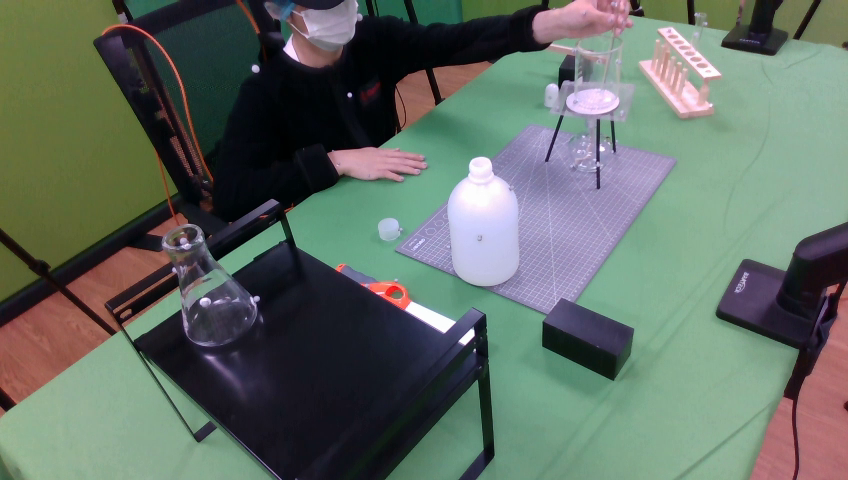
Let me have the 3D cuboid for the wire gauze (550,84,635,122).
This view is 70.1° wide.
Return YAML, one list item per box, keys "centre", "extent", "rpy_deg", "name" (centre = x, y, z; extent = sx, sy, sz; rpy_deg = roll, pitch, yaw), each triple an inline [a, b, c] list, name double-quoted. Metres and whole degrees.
- centre: [0.285, -0.235, 1.021]
  extent: [0.124, 0.011, 0.121]
  rpy_deg: [8, 41, 24]
  name: "wire gauze"

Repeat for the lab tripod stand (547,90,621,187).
- centre: [0.289, -0.184, 1.062]
  extent: [0.148, 0.132, 0.147]
  rpy_deg: [-6, 41, 6]
  name: "lab tripod stand"

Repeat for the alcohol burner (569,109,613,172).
- centre: [0.297, -0.181, 1.073]
  extent: [0.078, 0.119, 0.077]
  rpy_deg: [-5, 43, 5]
  name: "alcohol burner"

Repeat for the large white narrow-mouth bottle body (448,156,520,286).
- centre: [0.086, -0.032, 0.869]
  extent: [0.102, 0.195, 0.101]
  rpy_deg: [-4, 40, 4]
  name: "large white narrow-mouth bottle body"

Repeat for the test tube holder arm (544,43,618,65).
- centre: [0.345, -0.413, 1.341]
  extent: [0.177, 0.015, 0.013]
  rpy_deg: [25, 49, 32]
  name: "test tube holder arm"

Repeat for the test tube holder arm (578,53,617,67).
- centre: [0.376, -0.394, 1.314]
  extent: [0.087, 0.015, 0.010]
  rpy_deg: [26, 50, 32]
  name: "test tube holder arm"

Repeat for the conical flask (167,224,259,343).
- centre: [-0.220, 0.041, 0.613]
  extent: [0.075, 0.122, 0.075]
  rpy_deg: [-5, 40, 4]
  name: "conical flask"

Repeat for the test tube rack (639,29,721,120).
- centre: [0.527, -0.351, 1.262]
  extent: [0.067, 0.085, 0.241]
  rpy_deg: [-8, 40, 1]
  name: "test tube rack"

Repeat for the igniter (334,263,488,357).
- centre: [-0.030, 0.095, 0.872]
  extent: [0.274, 0.025, 0.057]
  rpy_deg: [23, 60, 31]
  name: "igniter"

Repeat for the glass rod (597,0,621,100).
- centre: [0.291, -0.313, 0.941]
  extent: [0.008, 0.200, 0.008]
  rpy_deg: [1, 36, 0]
  name: "glass rod"

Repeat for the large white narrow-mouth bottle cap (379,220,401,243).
- centre: [-0.057, -0.015, 1.011]
  extent: [0.038, 0.024, 0.037]
  rpy_deg: [-4, 40, 4]
  name: "large white narrow-mouth bottle cap"

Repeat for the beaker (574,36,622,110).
- centre: [0.284, -0.273, 0.990]
  extent: [0.073, 0.101, 0.084]
  rpy_deg: [15, 46, 27]
  name: "beaker"

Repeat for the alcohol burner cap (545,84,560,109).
- centre: [0.274, -0.307, 1.285]
  extent: [0.034, 0.048, 0.033]
  rpy_deg: [-5, 42, 5]
  name: "alcohol burner cap"

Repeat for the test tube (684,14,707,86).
- centre: [0.541, -0.379, 1.216]
  extent: [0.017, 0.151, 0.017]
  rpy_deg: [-2, 44, 2]
  name: "test tube"
